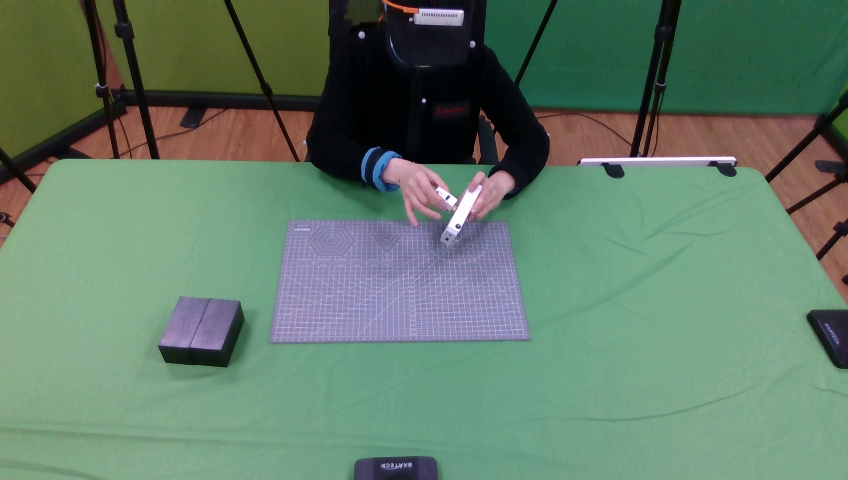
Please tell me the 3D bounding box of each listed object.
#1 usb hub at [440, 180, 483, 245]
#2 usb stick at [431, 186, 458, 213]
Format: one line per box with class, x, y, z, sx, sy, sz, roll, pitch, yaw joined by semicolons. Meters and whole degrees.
usb hub;0.071;-0.053;1.145;0.025;0.049;0.124;30;62;-2
usb stick;0.043;-0.073;1.129;0.059;0.027;0.021;38;59;0
